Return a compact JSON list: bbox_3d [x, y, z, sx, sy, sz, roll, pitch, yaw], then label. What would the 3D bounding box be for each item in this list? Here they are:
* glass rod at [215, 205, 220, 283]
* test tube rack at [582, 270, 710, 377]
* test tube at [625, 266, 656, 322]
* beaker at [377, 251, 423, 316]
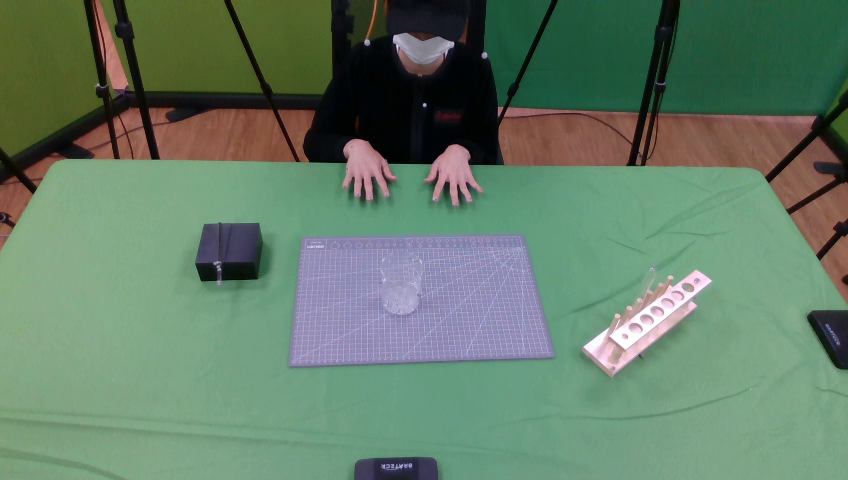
[{"bbox_3d":[-0.376,0.003,1.104,0.008,0.008,0.198,-8,47,-12],"label":"glass rod"},{"bbox_3d":[0.389,0.132,1.057,0.242,0.085,0.066,-28,53,-28],"label":"test tube rack"},{"bbox_3d":[0.366,0.096,1.027,0.017,0.151,0.017,1,47,0],"label":"test tube"},{"bbox_3d":[-0.040,0.081,1.060,0.074,0.101,0.083,-32,57,-30],"label":"beaker"}]
